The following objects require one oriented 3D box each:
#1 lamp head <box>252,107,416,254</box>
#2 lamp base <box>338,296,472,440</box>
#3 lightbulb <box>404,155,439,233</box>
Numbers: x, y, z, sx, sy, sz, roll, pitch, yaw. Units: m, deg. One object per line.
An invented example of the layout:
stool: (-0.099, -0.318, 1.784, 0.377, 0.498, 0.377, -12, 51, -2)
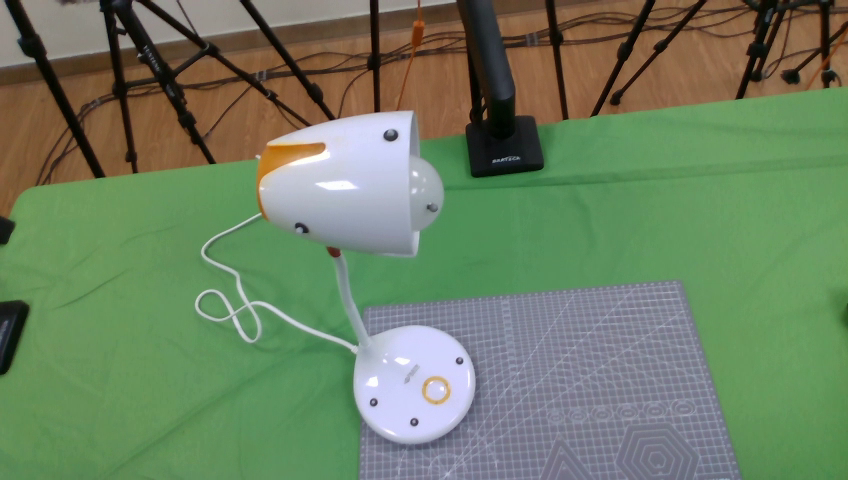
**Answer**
lamp head: (-0.065, -0.042, 0.463, 0.123, 0.113, 0.111, -3, 57, 8)
lamp base: (-0.038, 0.137, 0.734, 0.178, 0.182, 0.160, 16, 60, 21)
lightbulb: (-0.043, -0.032, 0.456, 0.107, 0.060, 0.059, -5, 57, 7)
